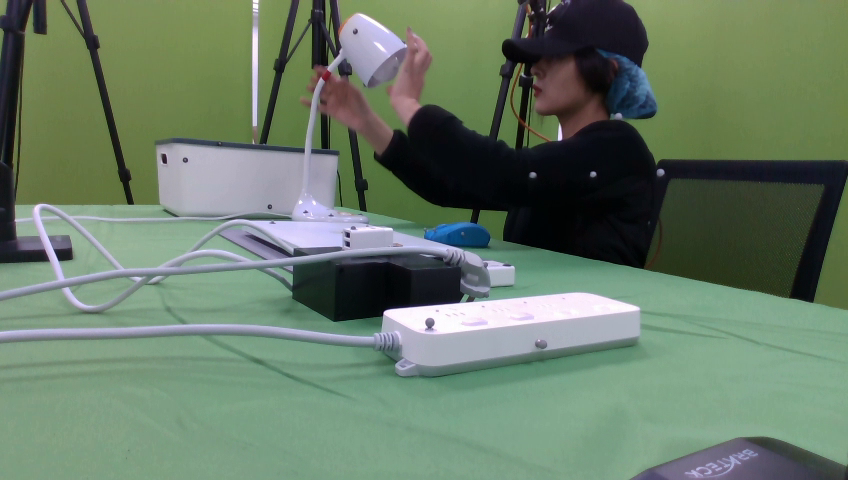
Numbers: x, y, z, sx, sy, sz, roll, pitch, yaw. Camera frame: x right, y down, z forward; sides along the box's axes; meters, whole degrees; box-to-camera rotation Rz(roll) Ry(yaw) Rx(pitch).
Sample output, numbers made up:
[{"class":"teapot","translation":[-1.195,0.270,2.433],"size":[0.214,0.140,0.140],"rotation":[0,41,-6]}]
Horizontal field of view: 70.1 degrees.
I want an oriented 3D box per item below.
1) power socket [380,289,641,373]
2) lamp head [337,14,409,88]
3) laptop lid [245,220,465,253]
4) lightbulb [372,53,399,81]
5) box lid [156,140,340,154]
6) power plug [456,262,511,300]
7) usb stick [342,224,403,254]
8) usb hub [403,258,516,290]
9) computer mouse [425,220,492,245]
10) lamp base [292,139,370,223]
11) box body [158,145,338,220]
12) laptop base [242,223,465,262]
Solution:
[{"class":"power socket","translation":[0.072,0.064,0.461],"size":[0.228,0.032,0.072],"rotation":[-2,8,-30]},{"class":"lamp head","translation":[-0.111,-0.373,1.174],"size":[0.123,0.112,0.112],"rotation":[42,11,2]},{"class":"laptop lid","translation":[-0.124,-0.009,0.945],"size":[0.243,0.013,0.355],"rotation":[1,7,-29]},{"class":"lightbulb","translation":[-0.091,-0.358,1.170],"size":[0.059,0.107,0.059],"rotation":[-33,-8,-5]},{"class":"box lid","translation":[-0.409,-0.212,1.404],"size":[0.373,0.015,0.262],"rotation":[-2,8,-32]},{"class":"power plug","translation":[0.052,0.051,0.543],"size":[0.035,0.052,0.072],"rotation":[6,38,-20]},{"class":"usb stick","translation":[-0.047,-0.001,0.567],"size":[0.059,0.027,0.021],"rotation":[0,5,-32]},{"class":"usb hub","translation":[0.042,0.038,0.690],"size":[0.126,0.025,0.049],"rotation":[-2,10,-30]},{"class":"computer mouse","translation":[0.060,-0.013,1.060],"size":[0.117,0.041,0.062],"rotation":[-2,9,-6]},{"class":"lamp base","translation":[-0.202,-0.121,1.252],"size":[0.179,0.180,0.161],"rotation":[1,6,18]},{"class":"box body","translation":[-0.410,-0.139,1.414],"size":[0.366,0.160,0.253],"rotation":[-3,8,-33]},{"class":"laptop base","translation":[-0.126,0.003,0.946],"size":[0.237,0.023,0.352],"rotation":[2,6,-31]}]
